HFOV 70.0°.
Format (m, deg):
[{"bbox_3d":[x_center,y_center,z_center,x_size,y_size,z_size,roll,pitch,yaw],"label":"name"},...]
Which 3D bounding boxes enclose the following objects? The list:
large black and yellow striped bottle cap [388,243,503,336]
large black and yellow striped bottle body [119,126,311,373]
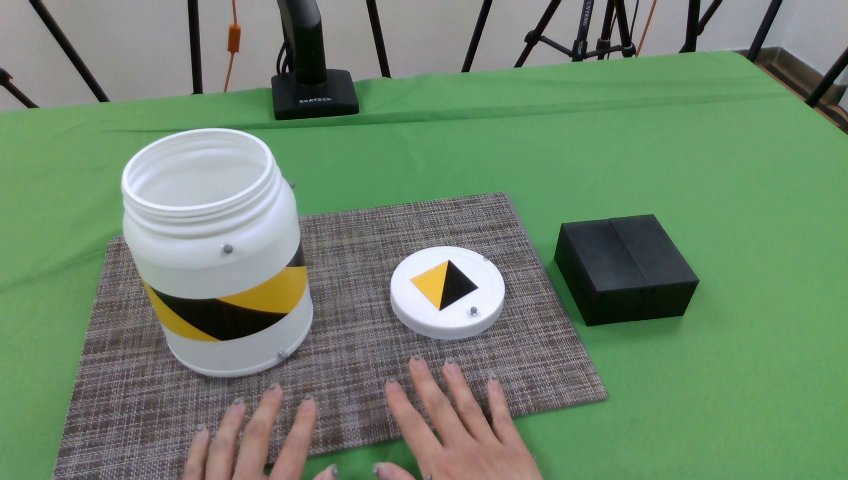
[{"bbox_3d":[0.021,0.047,0.604,0.115,0.019,0.114,0,42,0],"label":"large black and yellow striped bottle cap"},{"bbox_3d":[-0.171,0.010,0.512,0.131,0.185,0.129,1,42,0],"label":"large black and yellow striped bottle body"}]
